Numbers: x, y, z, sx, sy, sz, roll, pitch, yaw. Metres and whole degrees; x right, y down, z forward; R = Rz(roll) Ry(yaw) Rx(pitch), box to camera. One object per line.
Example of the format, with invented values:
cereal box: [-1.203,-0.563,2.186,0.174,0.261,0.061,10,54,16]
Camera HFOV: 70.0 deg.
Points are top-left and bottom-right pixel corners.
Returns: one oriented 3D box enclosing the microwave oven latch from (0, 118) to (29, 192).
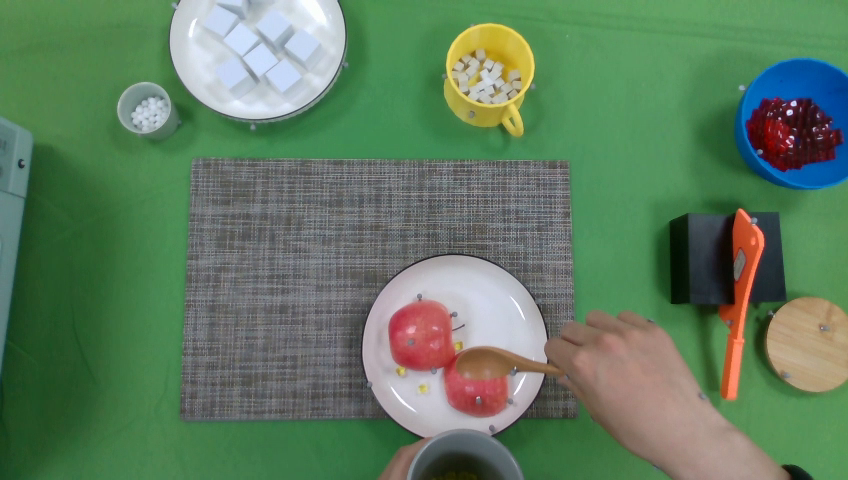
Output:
microwave oven latch: [-0.469,-0.096,0.681,0.030,0.029,0.079,7,83,-1]

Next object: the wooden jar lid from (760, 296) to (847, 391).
wooden jar lid: [0.441,0.120,0.701,0.108,0.021,0.108,0,83,0]

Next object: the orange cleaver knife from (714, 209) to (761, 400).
orange cleaver knife: [0.341,0.073,0.674,0.012,0.077,0.212,1,106,2]

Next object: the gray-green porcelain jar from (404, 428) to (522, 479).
gray-green porcelain jar: [0.032,0.251,0.566,0.106,0.127,0.105,2,50,-1]

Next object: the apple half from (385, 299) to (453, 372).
apple half: [-0.006,0.105,0.665,0.074,0.053,0.080,-2,83,1]

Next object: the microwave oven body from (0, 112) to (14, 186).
microwave oven body: [-0.625,0.057,0.560,0.326,0.260,0.440,3,83,-1]

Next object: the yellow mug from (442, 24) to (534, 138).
yellow mug: [0.080,-0.178,0.710,0.100,0.064,0.130,-29,85,-5]

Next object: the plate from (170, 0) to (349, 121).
plate: [-0.192,-0.239,0.725,0.208,0.039,0.207,0,82,-1]

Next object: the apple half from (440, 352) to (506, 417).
apple half: [0.055,0.158,0.668,0.081,0.033,0.081,0,79,-2]

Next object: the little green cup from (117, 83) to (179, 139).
little green cup: [-0.320,-0.148,0.709,0.061,0.039,0.061,0,83,-2]

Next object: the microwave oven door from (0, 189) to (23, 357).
microwave oven door: [-0.481,0.107,0.552,0.039,0.244,0.354,3,82,0]

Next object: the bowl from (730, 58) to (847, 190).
bowl: [0.419,-0.124,0.703,0.151,0.077,0.151,0,83,-1]

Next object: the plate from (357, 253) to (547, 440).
plate: [0.031,0.119,0.679,0.209,0.038,0.208,0,83,-1]

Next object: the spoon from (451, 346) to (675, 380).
spoon: [0.110,0.107,0.513,0.193,0.021,0.042,-5,122,34]
